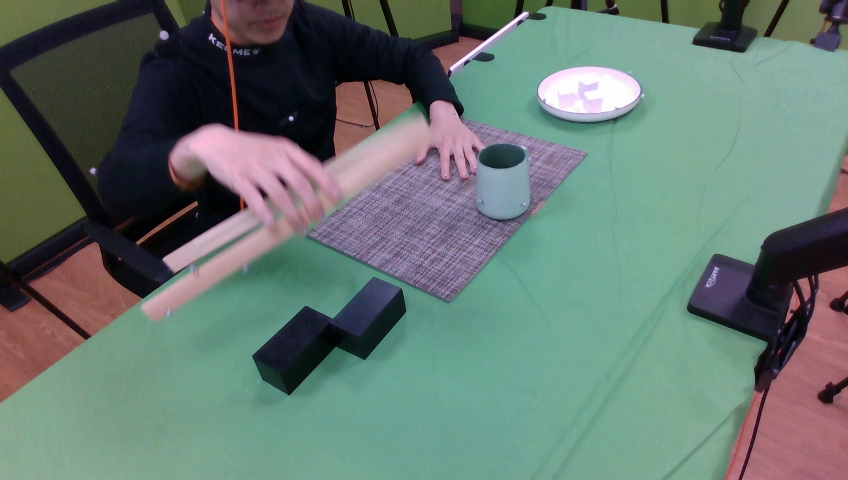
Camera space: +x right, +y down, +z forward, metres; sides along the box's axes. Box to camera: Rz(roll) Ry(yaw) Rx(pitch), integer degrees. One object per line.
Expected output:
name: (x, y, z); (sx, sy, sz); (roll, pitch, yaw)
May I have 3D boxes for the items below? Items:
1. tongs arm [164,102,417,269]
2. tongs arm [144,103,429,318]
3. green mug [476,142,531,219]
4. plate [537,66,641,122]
tongs arm: (-0.168, -0.065, 0.763); (0.387, 0.028, 0.028); (-30, 22, 9)
tongs arm: (-0.153, -0.037, 0.699); (0.385, 0.027, 0.050); (-35, 25, -1)
green mug: (0.139, -0.106, 1.003); (0.092, 0.105, 0.125); (21, 49, 30)
plate: (0.338, -0.299, 1.255); (0.209, 0.038, 0.208); (-4, 41, 4)
